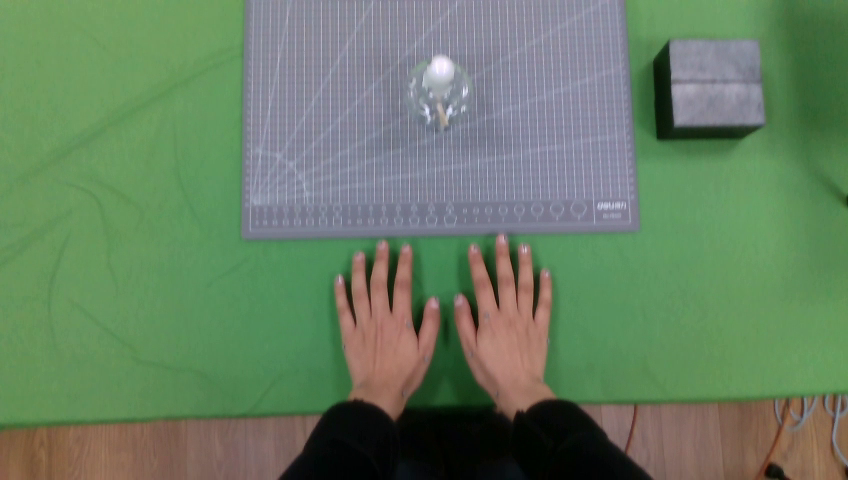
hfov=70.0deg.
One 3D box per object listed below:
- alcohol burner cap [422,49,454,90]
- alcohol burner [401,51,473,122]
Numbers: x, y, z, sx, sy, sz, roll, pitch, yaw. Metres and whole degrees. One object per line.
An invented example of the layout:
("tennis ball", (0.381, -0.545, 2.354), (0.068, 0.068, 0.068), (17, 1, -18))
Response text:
("alcohol burner cap", (0.015, -0.174, 0.612), (0.034, 0.048, 0.034), (0, 86, -2))
("alcohol burner", (0.015, -0.171, 0.646), (0.078, 0.119, 0.077), (0, 83, -2))
